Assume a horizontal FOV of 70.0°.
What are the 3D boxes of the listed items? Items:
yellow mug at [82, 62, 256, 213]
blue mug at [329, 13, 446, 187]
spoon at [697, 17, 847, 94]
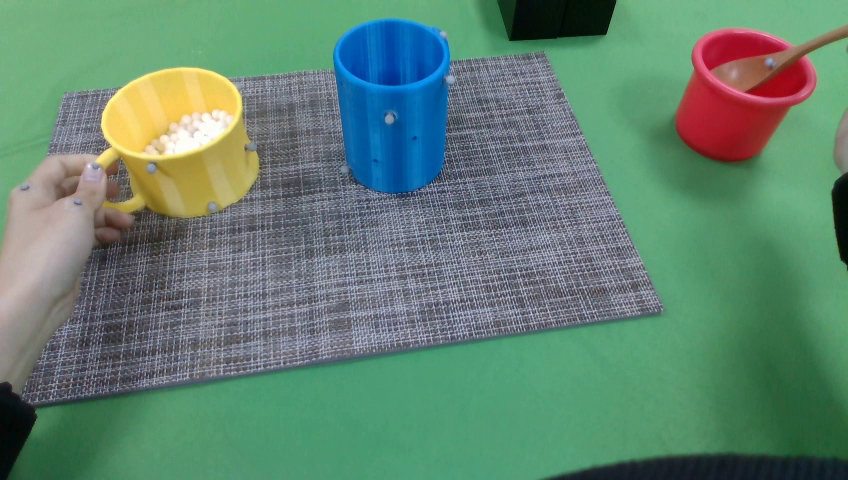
[{"bbox_3d":[-0.196,-0.070,0.458,0.099,0.064,0.130,34,61,20],"label":"yellow mug"},{"bbox_3d":[-0.017,-0.116,0.474,0.082,0.107,0.116,30,58,18],"label":"blue mug"},{"bbox_3d":[0.297,-0.150,0.450,0.022,0.193,0.041,35,65,-23],"label":"spoon"}]
